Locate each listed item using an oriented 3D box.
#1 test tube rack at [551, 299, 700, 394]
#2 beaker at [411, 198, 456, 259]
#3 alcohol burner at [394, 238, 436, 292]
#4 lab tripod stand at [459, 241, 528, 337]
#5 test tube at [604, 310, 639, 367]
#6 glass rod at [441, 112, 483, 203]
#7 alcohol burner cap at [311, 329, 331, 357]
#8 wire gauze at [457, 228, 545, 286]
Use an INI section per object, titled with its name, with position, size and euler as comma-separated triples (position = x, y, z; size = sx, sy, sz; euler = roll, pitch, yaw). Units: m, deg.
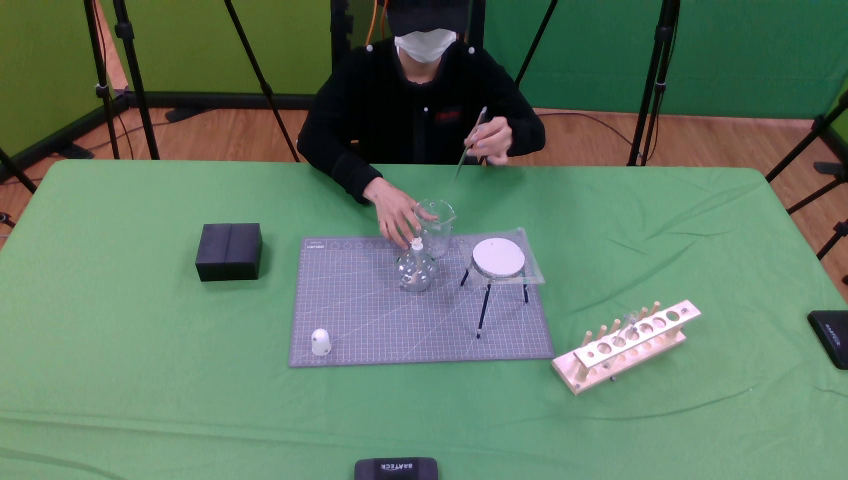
[test tube rack]
position = 0.339, 0.166, 1.021
size = 0.242, 0.085, 0.066
euler = -19, 50, -21
[beaker]
position = 0.016, -0.019, 1.161
size = 0.084, 0.101, 0.073
euler = 6, 46, 1
[alcohol burner]
position = -0.016, 0.038, 1.093
size = 0.078, 0.119, 0.077
euler = 2, 48, -2
[lab tripod stand]
position = 0.122, 0.075, 1.054
size = 0.148, 0.132, 0.147
euler = 3, 44, -3
[test tube]
position = 0.310, 0.158, 0.957
size = 0.017, 0.151, 0.017
euler = 1, 49, -1
[glass rod]
position = 0.065, -0.140, 1.067
size = 0.008, 0.200, 0.008
euler = 14, 40, -12
[alcohol burner cap]
position = -0.173, 0.168, 1.004
size = 0.034, 0.048, 0.033
euler = 2, 46, -2
[wire gauze]
position = 0.126, 0.029, 1.006
size = 0.125, 0.011, 0.120
euler = -4, 46, -10
